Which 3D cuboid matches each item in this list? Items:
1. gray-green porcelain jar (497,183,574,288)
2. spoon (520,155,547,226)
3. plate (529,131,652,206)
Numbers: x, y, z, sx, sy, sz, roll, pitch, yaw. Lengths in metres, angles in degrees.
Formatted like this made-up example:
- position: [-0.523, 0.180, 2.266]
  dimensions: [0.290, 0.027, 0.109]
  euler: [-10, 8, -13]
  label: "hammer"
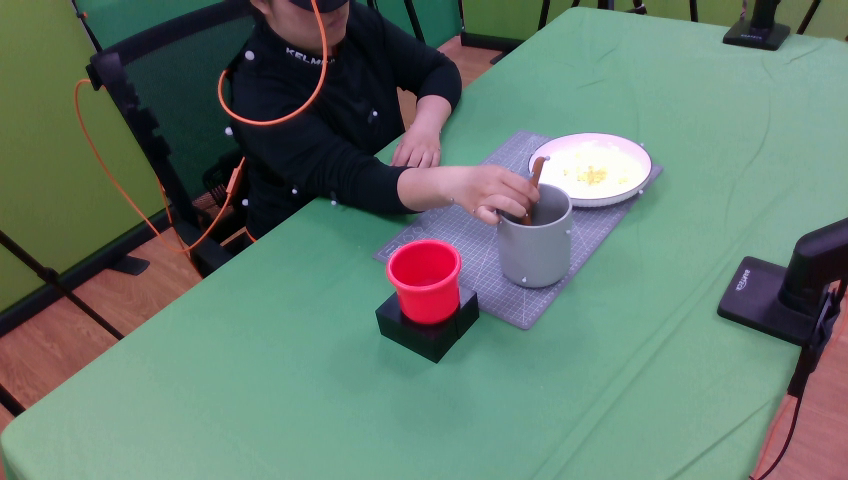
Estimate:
- position: [0.160, -0.003, 0.870]
  dimensions: [0.106, 0.127, 0.105]
  euler: [-5, 40, 5]
  label: "gray-green porcelain jar"
- position: [0.148, -0.048, 0.849]
  dimensions: [0.041, 0.194, 0.021]
  euler: [5, 47, 3]
  label: "spoon"
- position: [0.287, -0.122, 1.056]
  dimensions: [0.207, 0.039, 0.206]
  euler: [-5, 40, 5]
  label: "plate"
